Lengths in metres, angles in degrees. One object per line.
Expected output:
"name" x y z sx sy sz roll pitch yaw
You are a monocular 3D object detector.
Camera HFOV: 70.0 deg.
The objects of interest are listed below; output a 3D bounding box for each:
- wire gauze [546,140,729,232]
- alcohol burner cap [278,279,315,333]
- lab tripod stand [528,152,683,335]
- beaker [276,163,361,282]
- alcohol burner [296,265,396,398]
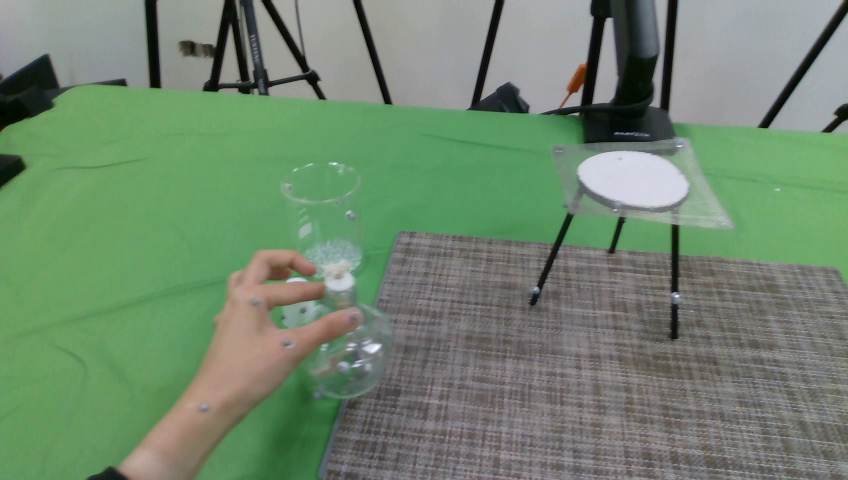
"wire gauze" 0.168 -0.049 0.495 0.125 0.011 0.120 2 39 2
"alcohol burner cap" -0.118 0.058 0.550 0.034 0.048 0.033 0 38 0
"lab tripod stand" 0.172 0.001 0.540 0.148 0.132 0.147 1 37 -1
"beaker" -0.099 -0.016 0.598 0.073 0.101 0.083 15 40 18
"alcohol burner" -0.059 0.064 0.459 0.078 0.120 0.077 2 39 -2
